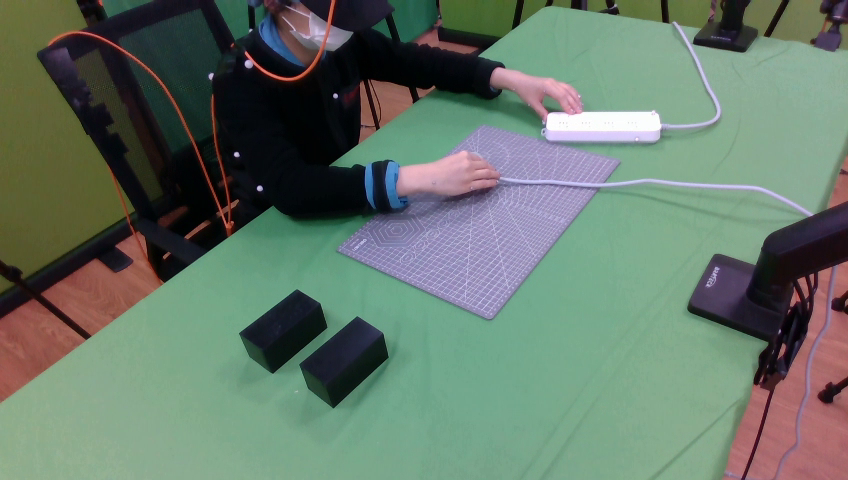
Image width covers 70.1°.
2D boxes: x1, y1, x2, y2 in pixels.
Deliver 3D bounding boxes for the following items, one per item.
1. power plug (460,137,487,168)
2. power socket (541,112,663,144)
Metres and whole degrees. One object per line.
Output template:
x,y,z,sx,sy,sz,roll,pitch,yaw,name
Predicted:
0.090,-0.166,1.103,0.052,0.035,0.072,-13,73,33,power plug
0.342,-0.217,1.164,0.226,0.033,0.072,4,43,12,power socket
